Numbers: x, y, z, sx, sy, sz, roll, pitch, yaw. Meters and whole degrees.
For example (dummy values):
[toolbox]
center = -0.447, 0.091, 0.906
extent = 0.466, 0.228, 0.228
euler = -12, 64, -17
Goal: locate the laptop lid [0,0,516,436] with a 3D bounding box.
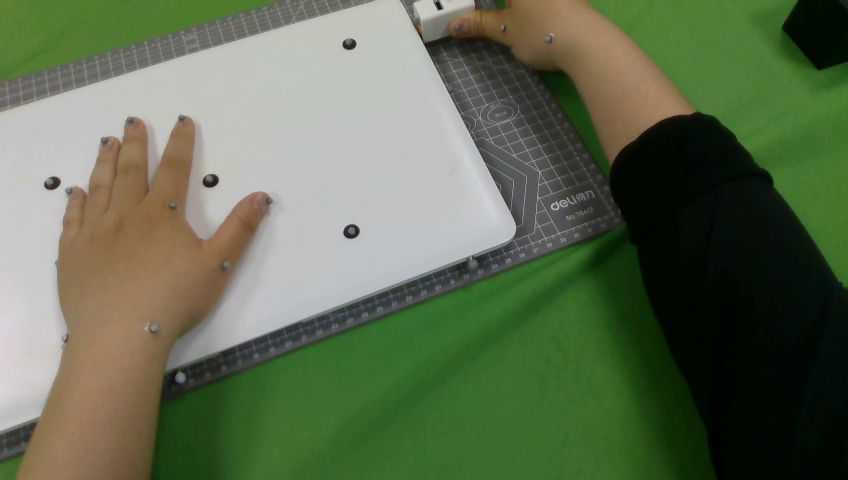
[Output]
[laptop lid]
center = -0.142, -0.038, 0.411
extent = 0.357, 0.013, 0.239
euler = -19, 66, -8

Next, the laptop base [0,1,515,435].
[laptop base]
center = -0.143, -0.036, 0.421
extent = 0.355, 0.023, 0.233
euler = -20, 68, -9

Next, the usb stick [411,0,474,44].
[usb stick]
center = 0.008, -0.172, 0.471
extent = 0.059, 0.027, 0.021
euler = -20, 59, -1
